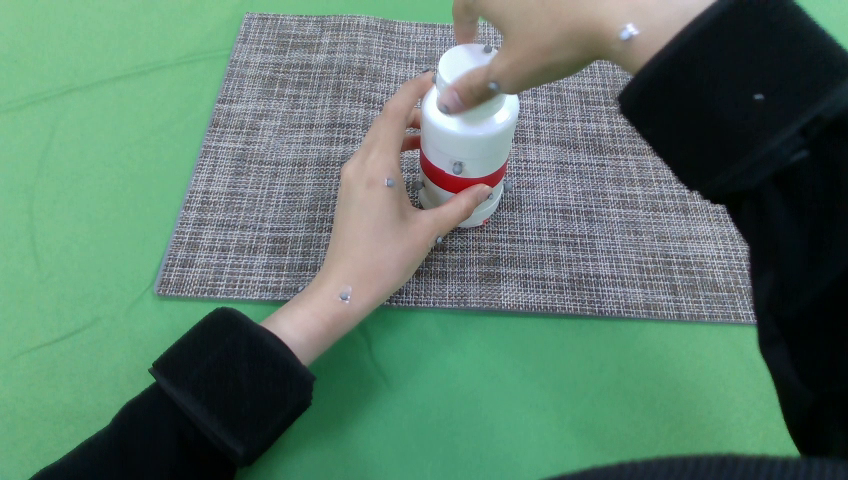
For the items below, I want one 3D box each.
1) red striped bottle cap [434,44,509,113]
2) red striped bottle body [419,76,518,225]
[{"bbox_3d":[0.029,-0.098,0.364,0.044,0.018,0.044,3,56,-4],"label":"red striped bottle cap"},{"bbox_3d":[0.028,-0.068,0.408,0.063,0.120,0.062,1,57,-1],"label":"red striped bottle body"}]
